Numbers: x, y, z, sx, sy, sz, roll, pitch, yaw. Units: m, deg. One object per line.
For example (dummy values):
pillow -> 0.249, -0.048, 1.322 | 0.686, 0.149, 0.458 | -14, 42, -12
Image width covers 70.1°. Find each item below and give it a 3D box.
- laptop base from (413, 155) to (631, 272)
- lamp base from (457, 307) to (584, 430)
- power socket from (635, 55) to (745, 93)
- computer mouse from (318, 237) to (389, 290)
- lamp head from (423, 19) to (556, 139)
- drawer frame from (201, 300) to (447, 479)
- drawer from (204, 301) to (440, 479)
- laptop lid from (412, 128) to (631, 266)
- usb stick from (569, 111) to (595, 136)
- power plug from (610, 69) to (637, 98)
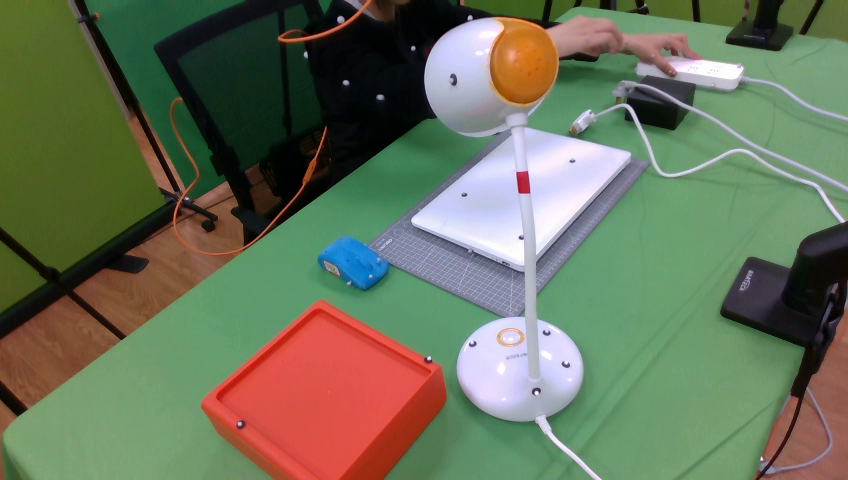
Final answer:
laptop base -> 0.176, -0.084, 1.055 | 0.233, 0.023, 0.355 | 21, 48, 36
lamp base -> 0.115, 0.108, 0.713 | 0.161, 0.181, 0.178 | -16, 43, -8
power socket -> 0.563, -0.358, 1.295 | 0.225, 0.033, 0.072 | 20, 49, 31
computer mouse -> -0.113, 0.033, 0.959 | 0.116, 0.041, 0.063 | 28, 50, 31
lamp head -> 0.069, -0.151, 0.563 | 0.113, 0.113, 0.122 | -21, 18, -13
drawer frame -> -0.117, 0.193, 0.733 | 0.212, 0.083, 0.202 | 23, 48, 32
drawer -> -0.119, 0.193, 0.735 | 0.210, 0.073, 0.195 | 23, 49, 32
laptop lid -> 0.173, -0.093, 1.049 | 0.239, 0.013, 0.358 | 23, 50, 36
usb stick -> 0.308, -0.227, 1.189 | 0.059, 0.021, 0.027 | -44, 14, -19
power plug -> 0.408, -0.324, 1.232 | 0.035, 0.072, 0.052 | 5, 40, -35
